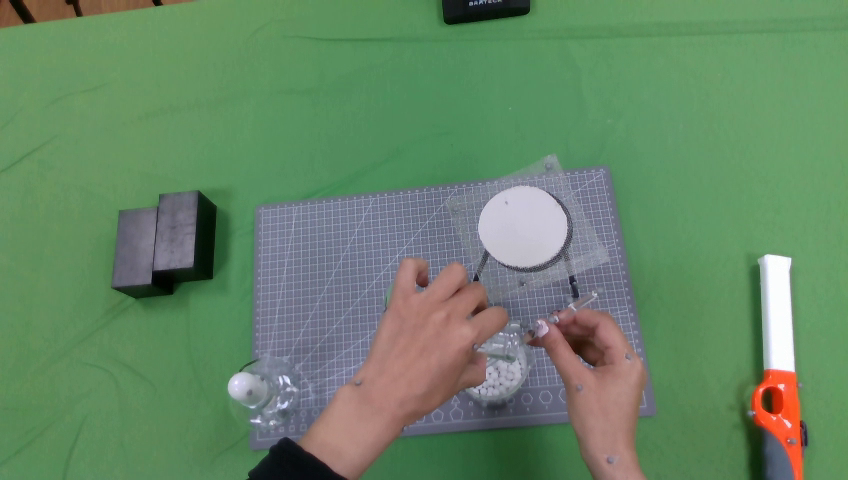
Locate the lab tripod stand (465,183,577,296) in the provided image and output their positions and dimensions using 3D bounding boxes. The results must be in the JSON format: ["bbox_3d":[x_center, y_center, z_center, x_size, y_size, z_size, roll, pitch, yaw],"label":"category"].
[{"bbox_3d":[0.104,0.009,0.656,0.148,0.132,0.147,-2,73,6],"label":"lab tripod stand"}]

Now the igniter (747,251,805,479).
[{"bbox_3d":[0.369,0.145,0.640,0.057,0.025,0.275,9,72,-1],"label":"igniter"}]

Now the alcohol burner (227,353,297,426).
[{"bbox_3d":[-0.179,0.158,0.647,0.078,0.120,0.077,-1,72,4],"label":"alcohol burner"}]

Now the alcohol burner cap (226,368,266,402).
[{"bbox_3d":[-0.182,0.145,0.613,0.034,0.048,0.033,0,69,1],"label":"alcohol burner cap"}]

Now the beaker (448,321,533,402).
[{"bbox_3d":[0.070,0.131,0.637,0.084,0.101,0.073,-8,71,3],"label":"beaker"}]

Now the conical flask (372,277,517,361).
[{"bbox_3d":[0.019,0.078,0.534,0.122,0.075,0.075,10,72,0],"label":"conical flask"}]

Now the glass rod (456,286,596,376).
[{"bbox_3d":[0.084,0.087,0.551,0.008,0.200,0.008,19,51,-24],"label":"glass rod"}]

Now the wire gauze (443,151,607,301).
[{"bbox_3d":[0.096,-0.015,0.593,0.125,0.011,0.120,-22,72,0],"label":"wire gauze"}]
